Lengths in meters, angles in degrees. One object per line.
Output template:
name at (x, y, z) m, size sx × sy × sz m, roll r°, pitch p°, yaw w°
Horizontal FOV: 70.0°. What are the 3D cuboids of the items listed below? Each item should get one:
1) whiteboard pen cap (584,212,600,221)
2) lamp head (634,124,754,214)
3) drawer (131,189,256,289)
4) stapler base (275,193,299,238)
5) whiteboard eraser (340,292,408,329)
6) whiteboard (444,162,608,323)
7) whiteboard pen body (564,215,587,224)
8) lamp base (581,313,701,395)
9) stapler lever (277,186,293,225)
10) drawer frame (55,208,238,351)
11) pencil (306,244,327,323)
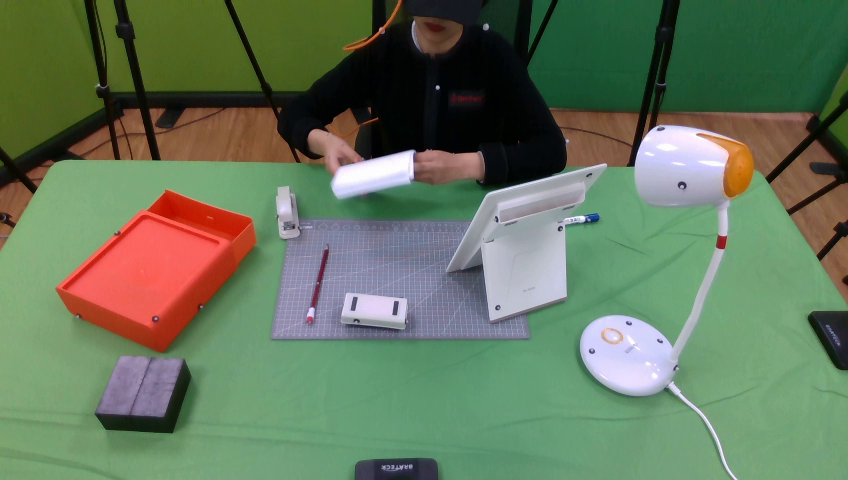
whiteboard pen cap at (0.351, -0.049, 1.271) m, size 0.033 × 0.018 × 0.018 m, roll -6°, pitch 47°, yaw -11°
lamp head at (0.351, -0.089, 0.775) m, size 0.112 × 0.113 × 0.122 m, roll -30°, pitch 30°, yaw -28°
drawer at (-0.449, 0.018, 1.105) m, size 0.194 × 0.073 × 0.211 m, roll 19°, pitch 48°, yaw 12°
stapler base at (-0.279, -0.056, 1.227) m, size 0.041 × 0.024 × 0.129 m, roll -7°, pitch 45°, yaw -11°
whiteboard eraser at (-0.087, 0.125, 1.052) m, size 0.113 × 0.042 × 0.055 m, roll 5°, pitch 45°, yaw 1°
whiteboard at (0.186, 0.025, 1.028) m, size 0.217 × 0.306 × 0.143 m, roll -14°, pitch 68°, yaw -17°
whiteboard pen body at (0.291, -0.040, 1.261) m, size 0.141 × 0.017 × 0.017 m, roll -6°, pitch 47°, yaw -11°
lamp base at (0.361, 0.144, 0.972) m, size 0.178 × 0.181 × 0.160 m, roll 34°, pitch 53°, yaw 23°
stapler lever at (-0.279, -0.075, 1.210) m, size 0.027 × 0.040 × 0.117 m, roll -7°, pitch 44°, yaw -11°
drawer frame at (-0.474, 0.062, 1.059) m, size 0.201 × 0.083 × 0.213 m, roll 19°, pitch 48°, yaw 13°
pencil at (-0.196, 0.076, 1.115) m, size 0.012 × 0.012 × 0.193 m, roll 4°, pitch 44°, yaw 0°
